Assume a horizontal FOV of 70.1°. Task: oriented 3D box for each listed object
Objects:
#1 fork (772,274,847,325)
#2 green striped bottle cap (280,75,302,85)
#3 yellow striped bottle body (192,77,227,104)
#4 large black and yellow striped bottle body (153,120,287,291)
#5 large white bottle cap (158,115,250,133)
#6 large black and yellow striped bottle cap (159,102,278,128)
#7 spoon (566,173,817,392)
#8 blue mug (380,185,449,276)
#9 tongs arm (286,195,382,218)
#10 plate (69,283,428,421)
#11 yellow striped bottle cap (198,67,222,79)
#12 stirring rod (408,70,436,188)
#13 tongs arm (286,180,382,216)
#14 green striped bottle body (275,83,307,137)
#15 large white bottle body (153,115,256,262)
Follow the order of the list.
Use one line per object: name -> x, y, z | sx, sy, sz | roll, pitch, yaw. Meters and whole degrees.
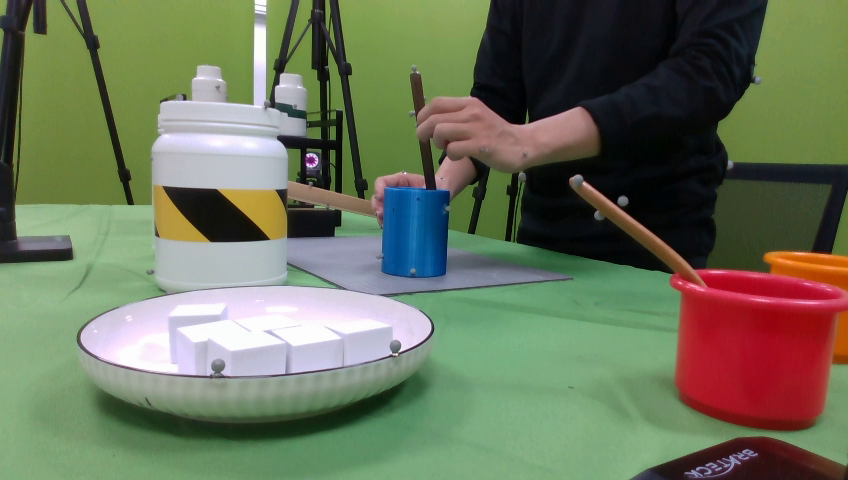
fork -> 0.332, 0.019, 0.444 | 0.028, 0.018, 0.207 | 0, -36, -14
green striped bottle cap -> -0.267, -0.320, 1.216 | 0.044, 0.020, 0.044 | 2, 8, 0
yellow striped bottle body -> -0.414, -0.268, 1.169 | 0.063, 0.120, 0.063 | 2, 7, 0
large black and yellow striped bottle body -> -0.208, -0.042, 0.626 | 0.131, 0.184, 0.130 | 2, 7, 0
large white bottle cap -> -0.291, -0.153, 0.803 | 0.115, 0.018, 0.115 | 1, 7, 0
large black and yellow striped bottle cap -> -0.207, -0.125, 0.615 | 0.115, 0.019, 0.115 | 2, 6, 0
spoon -> 0.161, 0.024, 0.370 | 0.193, 0.021, 0.042 | 47, 17, 3
blue mug -> -0.018, -0.016, 0.764 | 0.083, 0.106, 0.116 | -1, 7, -25
tongs arm -> -0.165, -0.075, 1.216 | 0.389, 0.027, 0.028 | 11, -6, -24
plate -> -0.102, 0.066, 0.381 | 0.208, 0.039, 0.207 | 2, 7, 0
yellow striped bottle cap -> -0.412, -0.320, 1.162 | 0.044, 0.018, 0.044 | 1, 5, 0
stirring rod -> 0.000, -0.117, 0.736 | 0.014, 0.176, 0.006 | 4, 26, 28
tongs arm -> -0.122, -0.066, 1.147 | 0.387, 0.026, 0.050 | 11, -2, -37
green striped bottle body -> -0.269, -0.269, 1.221 | 0.063, 0.119, 0.063 | 2, 7, 0
large white bottle body -> -0.293, -0.070, 0.813 | 0.131, 0.184, 0.130 | 2, 7, 0
